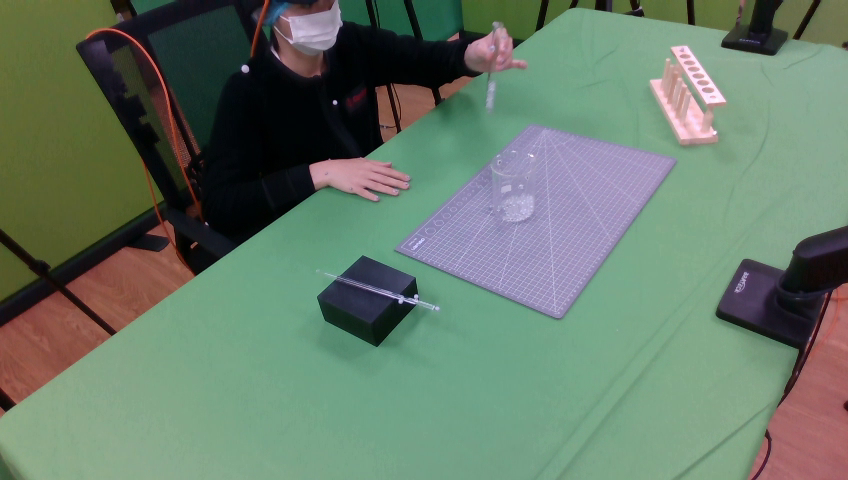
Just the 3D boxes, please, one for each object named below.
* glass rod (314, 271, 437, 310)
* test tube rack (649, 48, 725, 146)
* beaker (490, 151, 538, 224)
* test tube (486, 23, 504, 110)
[{"bbox_3d":[-0.072,0.069,0.837,0.198,0.008,0.008,14,44,24],"label":"glass rod"},{"bbox_3d":[0.508,-0.285,1.186,0.067,0.085,0.241,-4,40,6],"label":"test tube rack"},{"bbox_3d":[0.151,-0.084,0.988,0.084,0.101,0.073,-24,43,-20],"label":"beaker"},{"bbox_3d":[0.119,-0.291,1.024,0.017,0.150,0.017,2,38,-1],"label":"test tube"}]
